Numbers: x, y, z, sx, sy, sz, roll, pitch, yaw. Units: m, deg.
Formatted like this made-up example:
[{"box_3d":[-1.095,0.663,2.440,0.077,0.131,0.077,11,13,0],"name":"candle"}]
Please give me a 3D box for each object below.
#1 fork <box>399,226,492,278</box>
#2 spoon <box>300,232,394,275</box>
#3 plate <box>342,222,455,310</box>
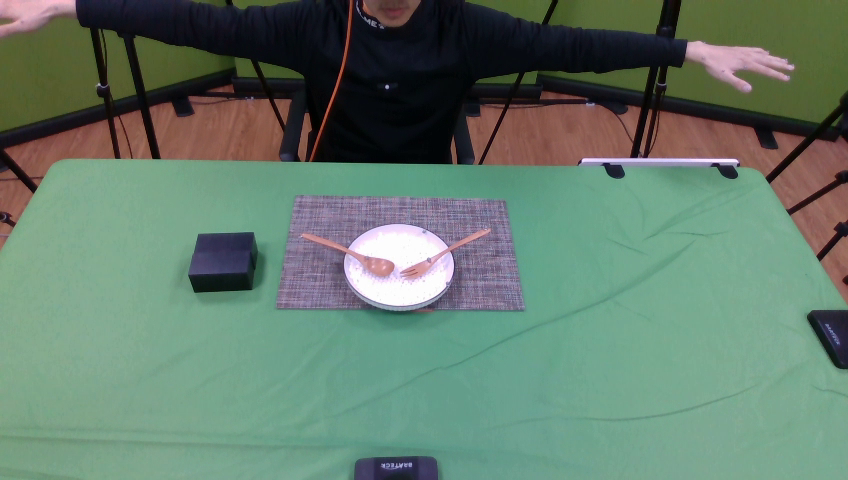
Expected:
[{"box_3d":[0.044,0.021,1.144,0.207,0.019,0.028,-29,53,-18],"name":"fork"},{"box_3d":[-0.145,0.020,1.126,0.193,0.022,0.041,24,53,8],"name":"spoon"},{"box_3d":[-0.047,0.052,1.127,0.209,0.038,0.208,2,46,-2],"name":"plate"}]
